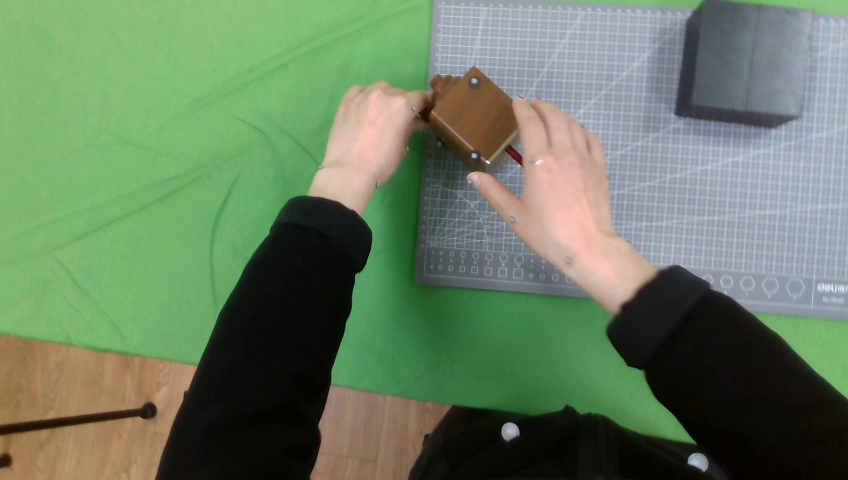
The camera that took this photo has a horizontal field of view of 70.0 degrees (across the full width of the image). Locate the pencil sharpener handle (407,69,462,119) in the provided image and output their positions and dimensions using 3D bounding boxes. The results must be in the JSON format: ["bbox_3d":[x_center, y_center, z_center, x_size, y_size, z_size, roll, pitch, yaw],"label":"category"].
[{"bbox_3d":[0.006,-0.141,0.565,0.030,0.068,0.036,44,57,4],"label":"pencil sharpener handle"}]

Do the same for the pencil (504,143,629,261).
[{"bbox_3d":[0.112,-0.050,0.548,0.194,0.012,0.012,44,92,1],"label":"pencil"}]

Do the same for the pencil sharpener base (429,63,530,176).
[{"bbox_3d":[0.051,-0.112,0.577,0.076,0.107,0.061,44,93,4],"label":"pencil sharpener base"}]
